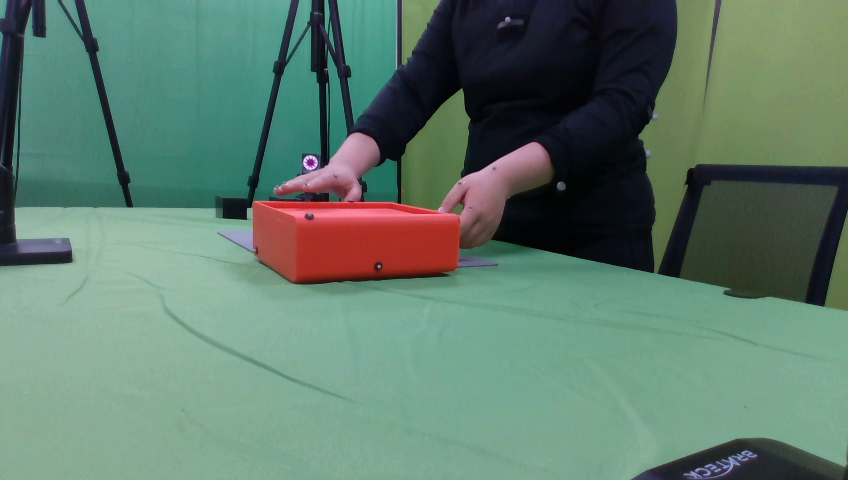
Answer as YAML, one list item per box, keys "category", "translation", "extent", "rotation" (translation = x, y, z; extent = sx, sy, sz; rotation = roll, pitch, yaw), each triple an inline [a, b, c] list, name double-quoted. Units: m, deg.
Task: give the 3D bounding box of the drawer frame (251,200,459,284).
- category: "drawer frame"
  translation: [-0.095, -0.005, 0.788]
  extent: [0.215, 0.082, 0.200]
  rotation: [-3, 10, -30]

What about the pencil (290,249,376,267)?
- category: "pencil"
  translation: [-0.112, 0.021, 0.792]
  extent: [0.012, 0.012, 0.195]
  rotation: [6, 6, 25]

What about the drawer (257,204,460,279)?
- category: "drawer"
  translation: [-0.091, -0.004, 0.792]
  extent: [0.213, 0.073, 0.193]
  rotation: [-3, 10, -29]
